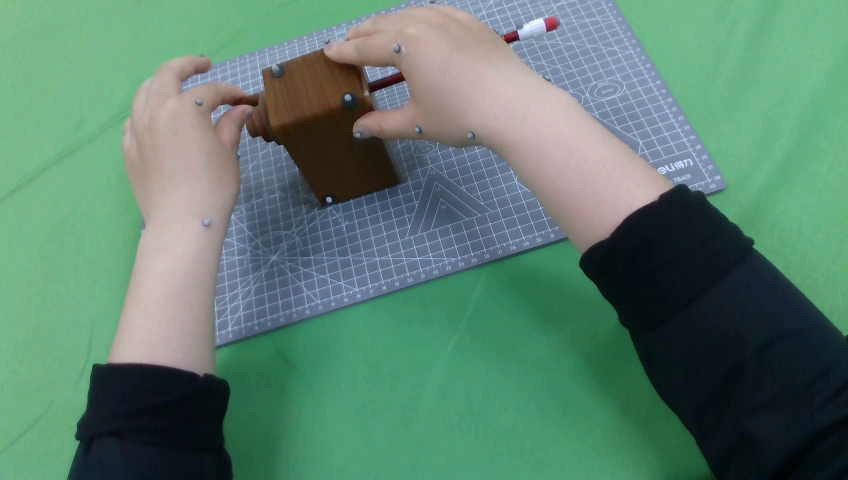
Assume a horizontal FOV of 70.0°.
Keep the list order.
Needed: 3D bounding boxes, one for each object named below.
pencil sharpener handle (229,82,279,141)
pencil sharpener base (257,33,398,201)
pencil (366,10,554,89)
[{"bbox_3d":[-0.128,-0.094,0.448,0.030,0.036,0.067,-20,44,2],"label":"pencil sharpener handle"},{"bbox_3d":[-0.071,-0.088,0.460,0.077,0.108,0.061,-20,60,2],"label":"pencil sharpener base"},{"bbox_3d":[0.000,-0.126,0.432,0.194,0.012,0.012,-20,60,2],"label":"pencil"}]
